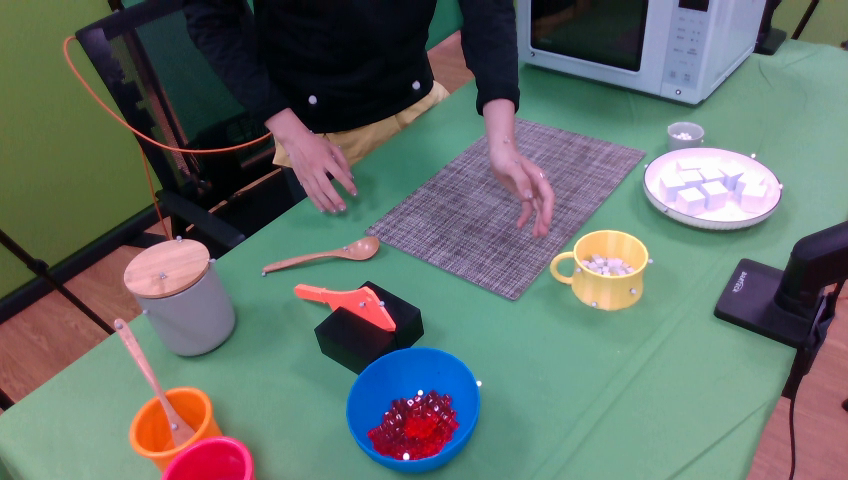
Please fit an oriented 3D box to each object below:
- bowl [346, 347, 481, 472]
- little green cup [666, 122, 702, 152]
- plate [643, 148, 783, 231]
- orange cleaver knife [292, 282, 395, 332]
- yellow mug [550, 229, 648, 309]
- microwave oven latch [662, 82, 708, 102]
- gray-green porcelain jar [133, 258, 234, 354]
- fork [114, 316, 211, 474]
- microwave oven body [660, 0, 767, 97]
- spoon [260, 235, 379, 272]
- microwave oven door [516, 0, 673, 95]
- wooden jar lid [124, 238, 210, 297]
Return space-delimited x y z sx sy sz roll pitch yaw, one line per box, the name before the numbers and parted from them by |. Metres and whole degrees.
bowl | -0.008 0.205 0.691 0.151 0.077 0.150 -4 40 4
little green cup | 0.471 -0.184 1.102 0.061 0.039 0.061 -5 41 5
plate | 0.464 -0.080 0.986 0.207 0.039 0.206 -4 41 4
orange cleaver knife | -0.115 0.091 0.835 0.209 0.077 0.012 2 32 48
yellow mug | 0.245 0.039 0.857 0.130 0.064 0.099 1 42 11
microwave oven latch | 0.517 -0.298 1.202 0.078 0.029 0.030 27 52 34
gray-green porcelain jar | -0.328 0.086 0.836 0.106 0.127 0.105 -4 41 4
fork | -0.309 0.179 0.708 0.028 0.018 0.207 -30 89 -23
microwave oven body | 0.474 -0.517 1.313 0.438 0.261 0.327 26 51 34
spoon | -0.167 0.024 0.966 0.194 0.022 0.041 -10 59 -3
microwave oven door | 0.344 -0.458 1.256 0.353 0.245 0.039 26 51 33
wooden jar lid | -0.335 0.039 0.794 0.108 0.021 0.108 -2 40 3
